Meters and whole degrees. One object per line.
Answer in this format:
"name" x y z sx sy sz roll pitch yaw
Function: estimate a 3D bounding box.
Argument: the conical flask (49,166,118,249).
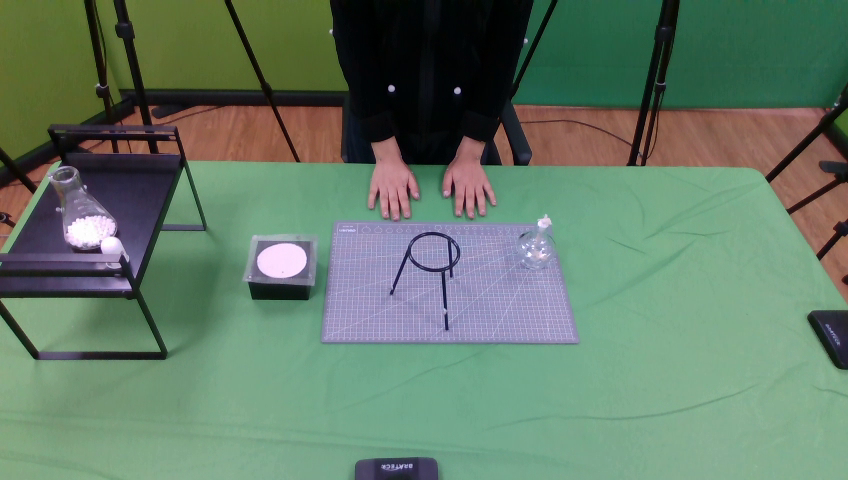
"conical flask" -0.505 -0.051 0.888 0.075 0.122 0.075 2 45 -2

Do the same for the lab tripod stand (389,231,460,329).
"lab tripod stand" 0.015 0.063 1.058 0.148 0.132 0.147 4 46 -4

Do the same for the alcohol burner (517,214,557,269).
"alcohol burner" 0.217 -0.002 1.149 0.078 0.120 0.077 2 44 -2

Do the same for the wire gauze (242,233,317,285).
"wire gauze" -0.257 0.032 1.088 0.125 0.011 0.120 1 44 -5

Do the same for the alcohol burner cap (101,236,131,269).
"alcohol burner cap" -0.452 0.016 0.883 0.034 0.048 0.033 2 45 -2
